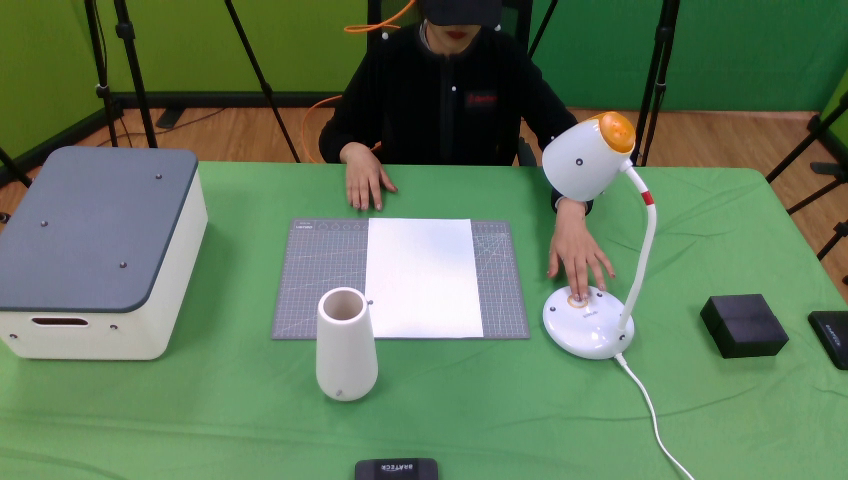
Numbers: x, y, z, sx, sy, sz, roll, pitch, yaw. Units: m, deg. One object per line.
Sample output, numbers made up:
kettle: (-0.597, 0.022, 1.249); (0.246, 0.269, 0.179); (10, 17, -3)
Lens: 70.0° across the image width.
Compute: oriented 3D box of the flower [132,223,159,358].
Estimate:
flower: (-0.505, 0.073, 1.095); (0.044, 0.038, 0.359); (-40, 43, 9)

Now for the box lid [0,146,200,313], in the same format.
box lid: (-0.536, -0.034, 0.989); (0.263, 0.015, 0.369); (1, 46, -3)

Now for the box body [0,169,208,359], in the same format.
box body: (-0.541, 0.021, 1.042); (0.254, 0.161, 0.361); (1, 46, -3)

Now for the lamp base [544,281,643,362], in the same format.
lamp base: (0.303, 0.095, 1.014); (0.161, 0.181, 0.178); (-24, 54, -24)

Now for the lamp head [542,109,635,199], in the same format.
lamp head: (0.253, -0.131, 0.893); (0.113, 0.123, 0.112); (10, 66, -24)

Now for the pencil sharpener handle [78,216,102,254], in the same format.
pencil sharpener handle: (-0.589, -0.007, 1.069); (0.036, 0.068, 0.030); (-5, 44, 2)

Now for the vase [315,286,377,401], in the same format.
vase: (-0.119, 0.159, 0.911); (0.098, 0.201, 0.097); (2, 47, -2)

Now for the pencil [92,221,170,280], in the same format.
pencil: (-0.552, 0.015, 1.153); (0.012, 0.012, 0.193); (20, 42, 15)

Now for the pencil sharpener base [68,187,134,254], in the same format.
pencil sharpener base: (-0.591, -0.034, 1.114); (0.061, 0.107, 0.076); (-3, 44, 0)
